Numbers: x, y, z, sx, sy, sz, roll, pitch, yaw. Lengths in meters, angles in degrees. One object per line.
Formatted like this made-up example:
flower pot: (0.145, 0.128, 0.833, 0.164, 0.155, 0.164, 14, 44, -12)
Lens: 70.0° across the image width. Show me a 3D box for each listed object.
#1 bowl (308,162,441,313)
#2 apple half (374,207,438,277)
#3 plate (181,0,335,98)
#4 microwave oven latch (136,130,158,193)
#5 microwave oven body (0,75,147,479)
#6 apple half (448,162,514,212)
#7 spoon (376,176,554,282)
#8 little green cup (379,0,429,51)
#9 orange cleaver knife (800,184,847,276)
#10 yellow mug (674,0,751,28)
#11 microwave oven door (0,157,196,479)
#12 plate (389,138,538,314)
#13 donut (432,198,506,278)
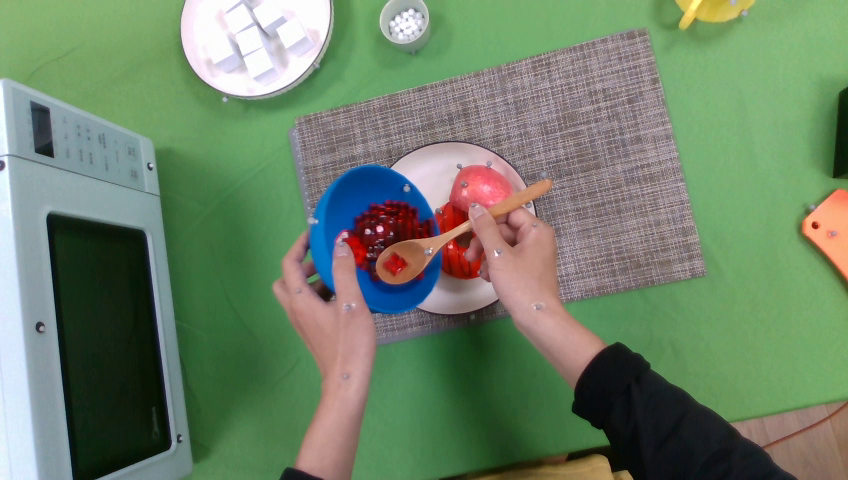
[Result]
bowl: (-0.063, 0.004, 0.613, 0.076, 0.152, 0.151, -17, 81, 45)
apple half: (-0.028, 0.003, 0.703, 0.074, 0.054, 0.080, -15, 81, 50)
plate: (-0.213, -0.283, 0.791, 0.207, 0.039, 0.207, -1, 86, 10)
microwave oven latch: (-0.367, -0.100, 0.785, 0.030, 0.029, 0.079, -10, 85, 9)
microwave oven body: (-0.499, 0.092, 0.696, 0.326, 0.261, 0.440, -11, 84, 8)
apple half: (0.068, -0.067, 0.696, 0.081, 0.033, 0.080, 2, 47, -1)
spoon: (0.038, -0.012, 0.587, 0.193, 0.022, 0.041, -28, 77, 17)
little green cup: (-0.022, -0.269, 0.757, 0.061, 0.039, 0.061, -1, 85, 10)
orange cleaver knife: (0.489, 0.040, 0.653, 0.077, 0.012, 0.210, -28, 80, 2)
yellow mug: (0.327, -0.298, 0.684, 0.099, 0.064, 0.131, 35, 93, 11)
microwave oven door: (-0.351, 0.106, 0.663, 0.039, 0.244, 0.354, -11, 83, 9)
plate: (0.032, -0.016, 0.725, 0.209, 0.038, 0.208, -1, 86, 10)
donut: (0.047, -0.004, 0.711, 0.099, 0.048, 0.099, 0, 90, 11)
